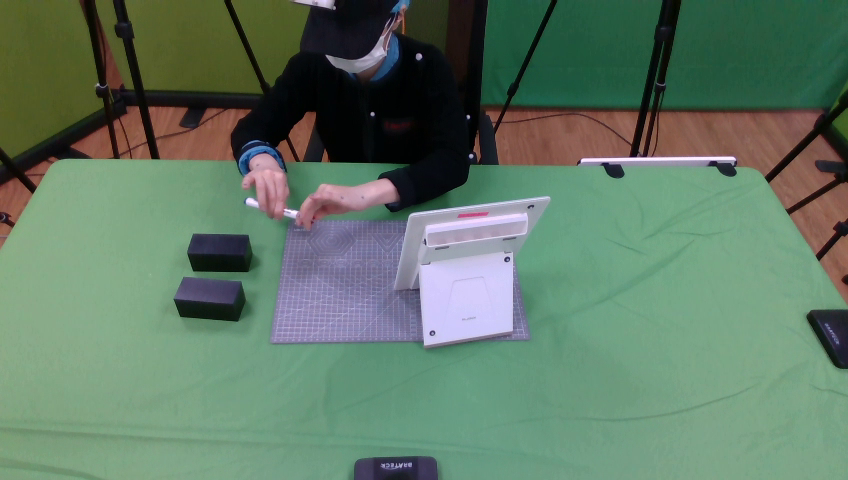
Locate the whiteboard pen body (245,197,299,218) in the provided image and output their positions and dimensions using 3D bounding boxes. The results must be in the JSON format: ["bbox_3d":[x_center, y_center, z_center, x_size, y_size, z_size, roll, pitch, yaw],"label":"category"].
[{"bbox_3d":[-0.268,-0.057,1.113,0.140,0.017,0.017,14,47,18],"label":"whiteboard pen body"}]

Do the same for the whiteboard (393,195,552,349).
[{"bbox_3d":[0.077,0.071,0.977,0.217,0.306,0.143,-7,66,-11],"label":"whiteboard"}]

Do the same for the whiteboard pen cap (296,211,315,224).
[{"bbox_3d":[-0.214,-0.042,1.095,0.032,0.017,0.017,17,47,15],"label":"whiteboard pen cap"}]
